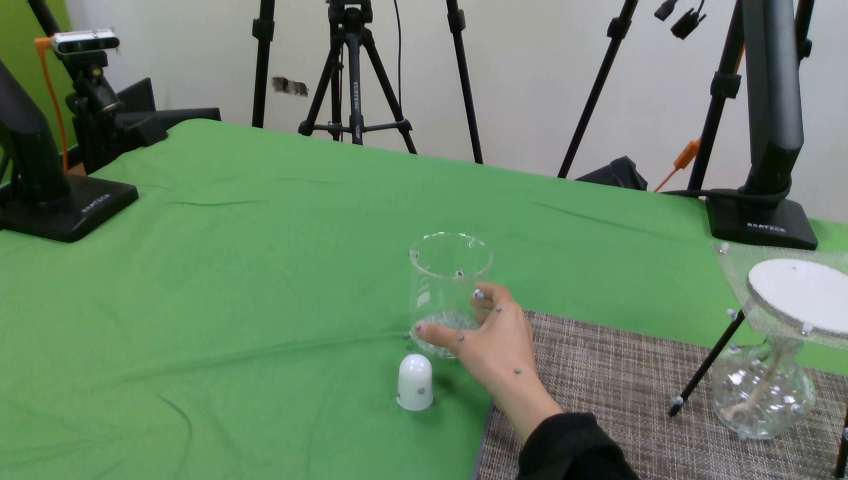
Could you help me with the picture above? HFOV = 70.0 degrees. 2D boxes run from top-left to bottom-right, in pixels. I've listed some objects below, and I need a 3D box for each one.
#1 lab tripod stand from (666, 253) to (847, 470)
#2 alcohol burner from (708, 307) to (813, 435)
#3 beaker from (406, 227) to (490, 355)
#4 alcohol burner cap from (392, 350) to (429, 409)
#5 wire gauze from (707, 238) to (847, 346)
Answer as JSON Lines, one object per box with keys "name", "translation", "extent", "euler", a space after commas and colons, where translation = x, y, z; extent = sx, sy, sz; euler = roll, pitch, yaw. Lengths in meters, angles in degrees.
{"name": "lab tripod stand", "translation": [0.282, 0.090, 0.479], "extent": [0.148, 0.132, 0.147], "euler": [4, 34, -2]}
{"name": "alcohol burner", "translation": [0.274, 0.098, 0.484], "extent": [0.078, 0.120, 0.077], "euler": [3, 36, -2]}
{"name": "beaker", "translation": [0.021, 0.048, 0.560], "extent": [0.073, 0.101, 0.084], "euler": [22, 38, 25]}
{"name": "alcohol burner cap", "translation": [-0.010, 0.115, 0.510], "extent": [0.034, 0.048, 0.033], "euler": [2, 35, -1]}
{"name": "wire gauze", "translation": [0.280, 0.037, 0.438], "extent": [0.125, 0.011, 0.120], "euler": [9, 35, 7]}
